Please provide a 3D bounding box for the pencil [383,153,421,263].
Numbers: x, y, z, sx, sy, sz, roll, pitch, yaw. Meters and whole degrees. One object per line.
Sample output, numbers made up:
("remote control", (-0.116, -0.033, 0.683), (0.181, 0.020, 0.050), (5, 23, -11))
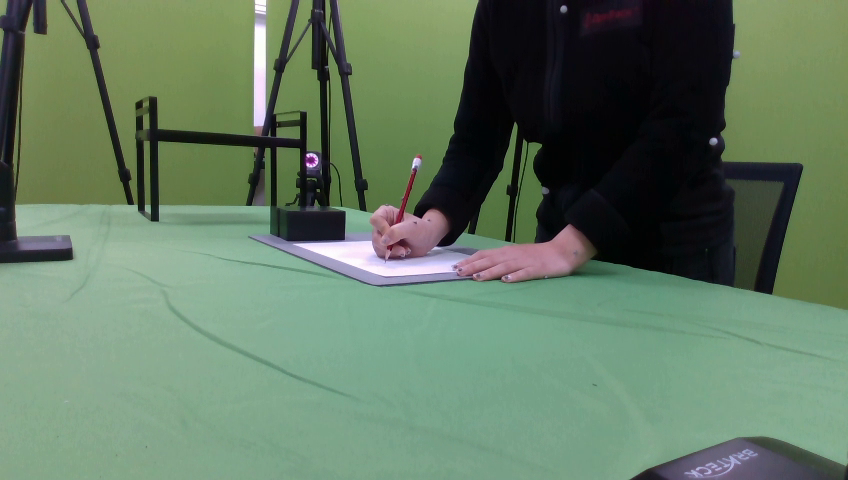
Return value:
("pencil", (-0.031, -0.049, 0.858), (0.012, 0.194, 0.012), (11, -32, 7))
